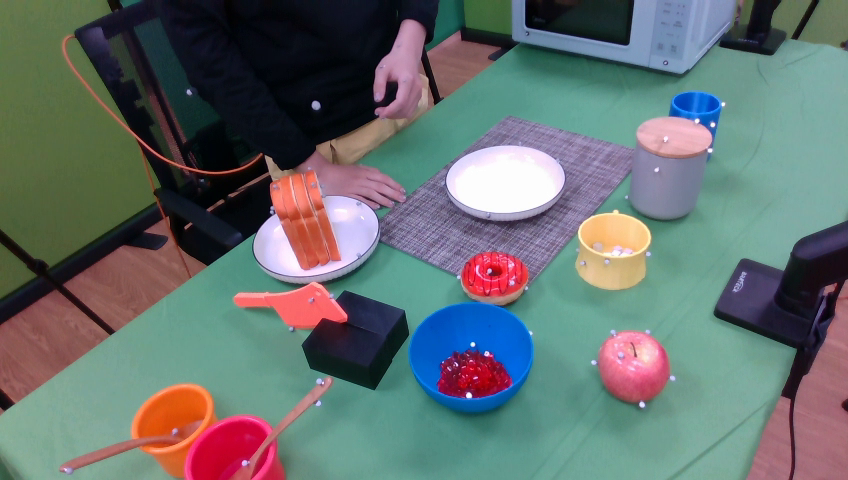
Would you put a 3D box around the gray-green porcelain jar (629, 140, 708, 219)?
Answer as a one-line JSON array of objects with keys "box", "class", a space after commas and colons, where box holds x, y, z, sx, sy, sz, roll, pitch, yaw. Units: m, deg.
[{"box": [0.383, -0.105, 0.958, 0.106, 0.127, 0.105, -4, 41, 4], "class": "gray-green porcelain jar"}]

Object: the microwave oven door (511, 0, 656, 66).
[{"box": [0.351, -0.540, 1.349, 0.353, 0.245, 0.039, 24, 50, 31], "class": "microwave oven door"}]

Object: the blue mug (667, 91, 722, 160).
[{"box": [0.474, -0.207, 1.079, 0.082, 0.106, 0.116, 4, 42, 13], "class": "blue mug"}]

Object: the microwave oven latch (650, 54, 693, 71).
[{"box": [0.531, -0.386, 1.301, 0.078, 0.029, 0.030, 26, 51, 33], "class": "microwave oven latch"}]

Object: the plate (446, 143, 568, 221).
[{"box": [0.142, -0.097, 1.045, 0.207, 0.039, 0.206, -4, 40, 4], "class": "plate"}]

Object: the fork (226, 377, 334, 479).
[{"box": [-0.163, 0.216, 0.647, 0.207, 0.019, 0.028, -49, 41, 16], "class": "fork"}]

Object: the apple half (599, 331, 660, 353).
[{"box": [0.249, 0.134, 0.738, 0.081, 0.081, 0.032, -1, 46, 7], "class": "apple half"}]

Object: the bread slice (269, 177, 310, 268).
[{"box": [-0.211, -0.034, 0.946, 0.019, 0.132, 0.104, -19, 39, -3], "class": "bread slice"}]

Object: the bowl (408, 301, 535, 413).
[{"box": [0.060, 0.156, 0.739, 0.151, 0.077, 0.150, -4, 40, 4], "class": "bowl"}]

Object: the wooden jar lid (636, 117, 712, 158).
[{"box": [0.377, -0.151, 0.917, 0.108, 0.021, 0.108, -2, 42, 3], "class": "wooden jar lid"}]

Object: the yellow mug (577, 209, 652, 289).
[{"box": [0.279, 0.004, 0.893, 0.099, 0.064, 0.130, 5, 41, 15], "class": "yellow mug"}]

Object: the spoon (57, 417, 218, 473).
[{"box": [-0.304, 0.221, 0.661, 0.041, 0.195, 0.021, 19, 92, 27], "class": "spoon"}]

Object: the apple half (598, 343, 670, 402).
[{"box": [0.247, 0.161, 0.710, 0.081, 0.075, 0.053, 2, 47, 5], "class": "apple half"}]

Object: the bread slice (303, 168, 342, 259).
[{"box": [-0.161, -0.046, 0.952, 0.018, 0.135, 0.106, -18, 45, -6], "class": "bread slice"}]

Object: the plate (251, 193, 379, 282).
[{"box": [-0.174, -0.001, 0.984, 0.209, 0.038, 0.208, -4, 40, 4], "class": "plate"}]

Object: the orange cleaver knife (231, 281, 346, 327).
[{"box": [-0.192, 0.093, 0.844, 0.210, 0.077, 0.012, -7, 31, 38], "class": "orange cleaver knife"}]

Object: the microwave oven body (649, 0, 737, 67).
[{"box": [0.475, -0.602, 1.411, 0.438, 0.261, 0.327, 23, 50, 32], "class": "microwave oven body"}]

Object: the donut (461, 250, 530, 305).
[{"box": [0.103, 0.053, 0.872, 0.099, 0.048, 0.098, -4, 40, 4], "class": "donut"}]
